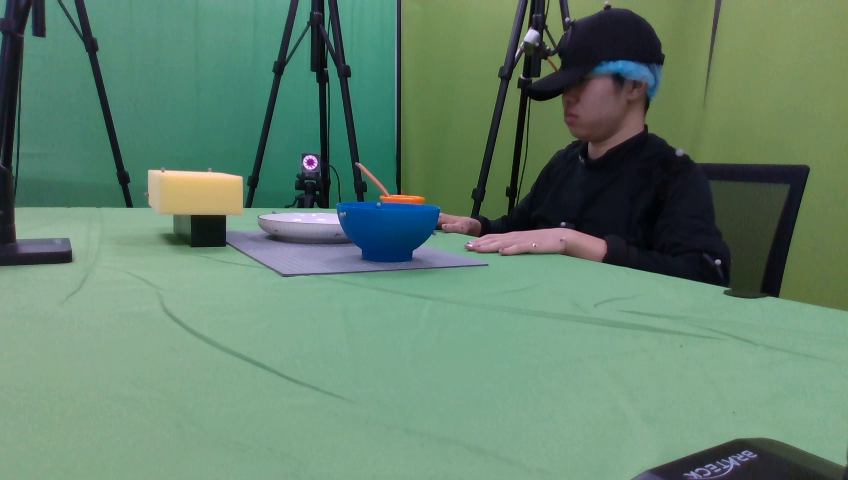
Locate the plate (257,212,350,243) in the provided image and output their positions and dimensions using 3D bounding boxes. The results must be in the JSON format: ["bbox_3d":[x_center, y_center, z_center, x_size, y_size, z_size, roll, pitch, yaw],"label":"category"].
[{"bbox_3d":[-0.189,-0.023,1.072,0.209,0.038,0.209,3,7,0],"label":"plate"}]

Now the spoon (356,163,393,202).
[{"bbox_3d":[-0.078,-0.090,1.232,0.021,0.193,0.042,-44,-16,25],"label":"spoon"}]

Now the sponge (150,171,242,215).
[{"bbox_3d":[-0.379,-0.079,0.994,0.119,0.061,0.206,-1,8,-29],"label":"sponge"}]

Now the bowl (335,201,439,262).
[{"bbox_3d":[-0.054,-0.012,0.871,0.151,0.077,0.151,3,8,0],"label":"bowl"}]
